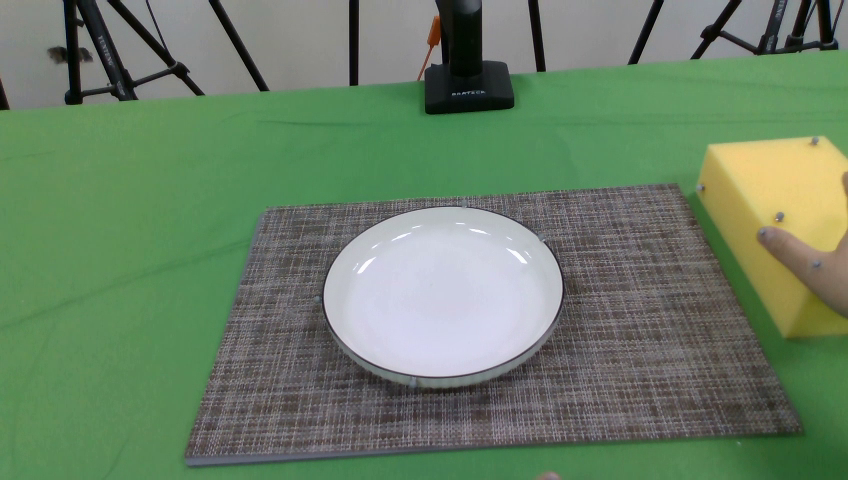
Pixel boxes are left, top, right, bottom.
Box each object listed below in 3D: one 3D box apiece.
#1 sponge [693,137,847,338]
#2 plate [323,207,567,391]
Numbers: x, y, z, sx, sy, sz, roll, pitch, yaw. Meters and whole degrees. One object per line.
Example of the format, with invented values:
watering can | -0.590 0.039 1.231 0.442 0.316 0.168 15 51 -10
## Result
sponge | 0.346 -0.011 0.551 0.118 0.061 0.204 -5 41 1
plate | 0.018 0.049 0.530 0.207 0.039 0.205 -3 41 3
